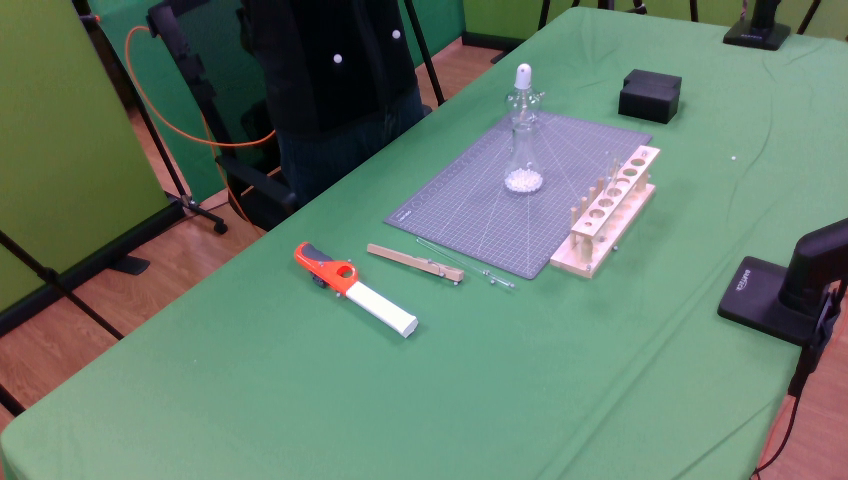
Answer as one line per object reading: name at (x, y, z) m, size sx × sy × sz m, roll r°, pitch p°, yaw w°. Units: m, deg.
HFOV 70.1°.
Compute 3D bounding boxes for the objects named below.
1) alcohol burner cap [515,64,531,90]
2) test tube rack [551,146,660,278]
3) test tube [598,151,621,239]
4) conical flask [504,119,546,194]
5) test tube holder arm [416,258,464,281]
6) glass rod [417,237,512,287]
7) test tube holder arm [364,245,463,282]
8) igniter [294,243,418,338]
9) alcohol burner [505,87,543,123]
alcohol burner cap at (0.199, -0.325, 1.198) m, size 0.034 × 0.048 × 0.033 m, roll 0°, pitch 45°, yaw 1°
test tube rack at (0.286, -0.053, 0.943) m, size 0.066 × 0.085 × 0.243 m, roll 21°, pitch 49°, yaw 32°
test tube at (0.269, -0.062, 0.880) m, size 0.017 × 0.151 × 0.017 m, roll -3°, pitch 39°, yaw 3°
conical flask at (0.173, -0.146, 1.041) m, size 0.075 × 0.122 × 0.075 m, roll -6°, pitch 40°, yaw 5°
test tube holder arm at (0.022, 0.045, 0.931) m, size 0.087 × 0.015 × 0.010 m, roll 16°, pitch 10°, yaw 27°
glass rod at (0.059, 0.032, 0.945) m, size 0.198 × 0.008 × 0.008 m, roll 26°, pitch 52°, yaw 38°
test tube holder arm at (-0.020, 0.034, 0.947) m, size 0.177 × 0.015 × 0.013 m, roll 16°, pitch 10°, yaw 26°
igniter at (-0.114, 0.070, 0.919) m, size 0.274 × 0.025 × 0.057 m, roll 29°, pitch 63°, yaw 37°
alcohol burner at (0.202, -0.298, 1.221) m, size 0.078 × 0.119 × 0.077 m, roll -4°, pitch 40°, yaw 4°
